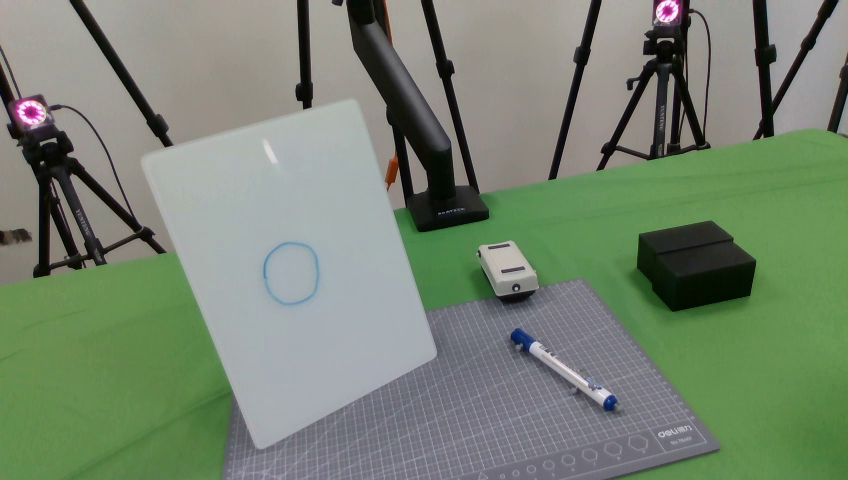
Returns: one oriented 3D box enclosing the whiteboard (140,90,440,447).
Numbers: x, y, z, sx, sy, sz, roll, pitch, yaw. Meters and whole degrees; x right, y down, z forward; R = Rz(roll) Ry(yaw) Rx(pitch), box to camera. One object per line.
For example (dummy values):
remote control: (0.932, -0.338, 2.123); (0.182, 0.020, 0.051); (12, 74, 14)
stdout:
whiteboard: (-0.146, 0.020, 0.667); (0.217, 0.307, 0.143); (-23, 14, -24)

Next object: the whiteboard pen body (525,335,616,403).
whiteboard pen body: (0.146, 0.129, 0.642); (0.017, 0.017, 0.139); (-23, 33, -25)

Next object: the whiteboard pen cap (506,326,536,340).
whiteboard pen cap: (0.110, 0.105, 0.687); (0.033, 0.018, 0.018); (-1, 30, 14)

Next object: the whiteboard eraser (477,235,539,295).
whiteboard eraser: (0.108, 0.033, 0.798); (0.055, 0.042, 0.111); (-12, 26, -4)
